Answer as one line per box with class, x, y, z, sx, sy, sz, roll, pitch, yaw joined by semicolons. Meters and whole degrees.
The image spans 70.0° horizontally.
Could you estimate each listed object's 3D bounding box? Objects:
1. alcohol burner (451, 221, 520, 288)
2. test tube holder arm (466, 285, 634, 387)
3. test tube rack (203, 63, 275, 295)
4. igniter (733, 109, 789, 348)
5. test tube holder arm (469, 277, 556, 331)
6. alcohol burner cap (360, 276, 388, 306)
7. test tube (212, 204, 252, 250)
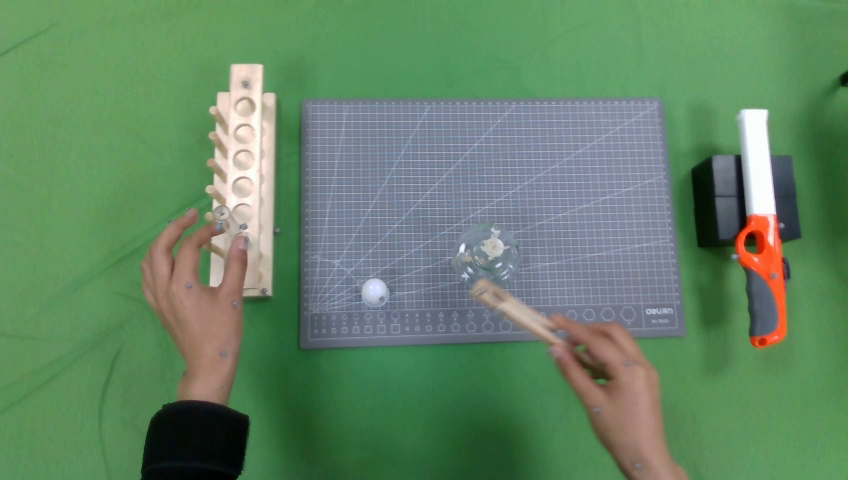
alcohol burner;0.069;0.014;0.659;0.078;0.119;0.077;1;81;-3
test tube holder arm;0.117;0.089;0.554;0.179;0.015;0.013;32;59;-8
test tube rack;-0.207;-0.064;0.670;0.067;0.085;0.241;-1;80;-4
igniter;0.379;-0.017;0.688;0.057;0.025;0.275;1;79;2
test tube holder arm;0.081;0.061;0.551;0.088;0.015;0.010;32;59;-8
alcohol burner cap;-0.057;0.055;0.679;0.034;0.048;0.033;1;78;-4
test tube;-0.187;-0.006;0.611;0.017;0.151;0.017;1;75;-4
